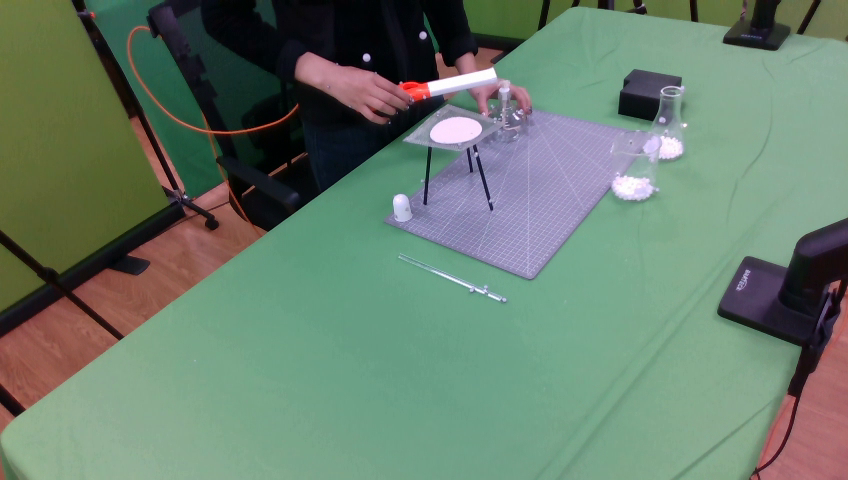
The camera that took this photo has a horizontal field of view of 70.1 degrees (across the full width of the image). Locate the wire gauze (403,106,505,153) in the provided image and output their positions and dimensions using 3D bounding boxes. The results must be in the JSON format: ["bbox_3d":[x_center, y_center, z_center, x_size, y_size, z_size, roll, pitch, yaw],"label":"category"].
[{"bbox_3d":[0.049,-0.181,0.992,0.120,0.011,0.125,23,48,34],"label":"wire gauze"}]

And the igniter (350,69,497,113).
[{"bbox_3d":[-0.002,-0.279,1.129,0.277,0.025,0.057,-12,51,-1],"label":"igniter"}]

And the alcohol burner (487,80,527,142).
[{"bbox_3d":[0.160,-0.254,1.178,0.078,0.120,0.077,-7,39,6],"label":"alcohol burner"}]

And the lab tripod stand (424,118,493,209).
[{"bbox_3d":[0.061,-0.133,1.038,0.148,0.132,0.147,-6,38,6],"label":"lab tripod stand"}]

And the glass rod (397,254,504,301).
[{"bbox_3d":[0.036,0.054,0.922,0.198,0.008,0.008,22,50,31],"label":"glass rod"}]

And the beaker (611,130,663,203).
[{"bbox_3d":[0.346,-0.118,0.998,0.084,0.101,0.073,-17,40,-7],"label":"beaker"}]

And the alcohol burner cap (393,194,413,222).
[{"bbox_3d":[-0.038,-0.057,1.038,0.034,0.048,0.033,-6,40,5],"label":"alcohol burner cap"}]

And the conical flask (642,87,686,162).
[{"bbox_3d":[0.429,-0.206,1.067,0.075,0.122,0.075,-6,40,6],"label":"conical flask"}]
